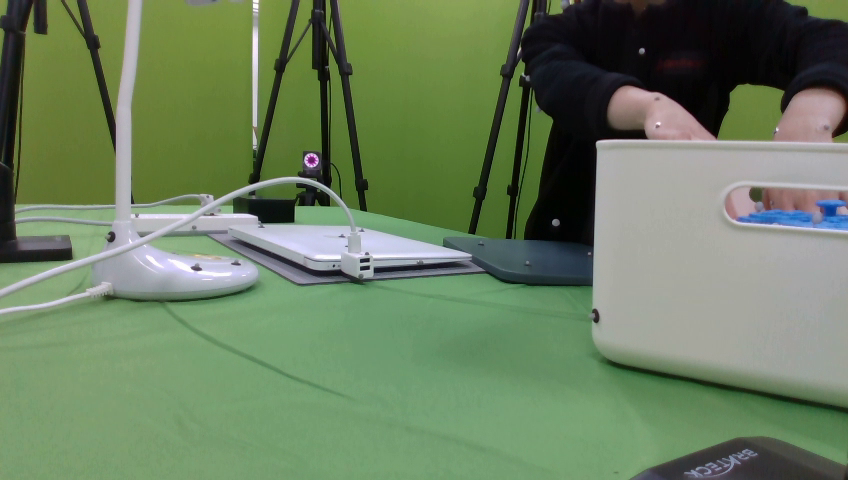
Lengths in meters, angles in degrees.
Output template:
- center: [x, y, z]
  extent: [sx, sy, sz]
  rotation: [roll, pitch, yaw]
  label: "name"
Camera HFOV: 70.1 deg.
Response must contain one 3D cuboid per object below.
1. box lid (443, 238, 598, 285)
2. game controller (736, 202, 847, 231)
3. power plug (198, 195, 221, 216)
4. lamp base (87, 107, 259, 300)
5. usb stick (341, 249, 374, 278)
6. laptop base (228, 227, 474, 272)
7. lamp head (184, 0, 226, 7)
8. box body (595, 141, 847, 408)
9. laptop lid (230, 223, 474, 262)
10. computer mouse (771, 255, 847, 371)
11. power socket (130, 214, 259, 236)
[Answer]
- center: [0.191, 0.029, 0.904]
  extent: [0.264, 0.015, 0.370]
  rotation: [2, 7, -12]
  label: "box lid"
- center: [0.291, 0.000, 0.426]
  extent: [0.097, 0.051, 0.155]
  rotation: [0, 7, 5]
  label: "game controller"
- center: [-0.386, -0.055, 1.088]
  extent: [0.035, 0.052, 0.072]
  rotation: [-2, 6, -24]
  label: "power plug"
- center: [-0.254, -0.039, 0.603]
  extent: [0.160, 0.180, 0.179]
  rotation: [5, 10, 18]
  label: "lamp base"
- center: [-0.078, 0.026, 0.686]
  extent: [0.021, 0.027, 0.059]
  rotation: [-8, 8, -30]
  label: "usb stick"
- center: [-0.123, 0.012, 0.889]
  extent: [0.237, 0.023, 0.352]
  rotation: [2, 6, -35]
  label: "laptop base"
- center: [-0.229, -0.320, 0.627]
  extent: [0.112, 0.112, 0.123]
  rotation: [6, -35, 26]
  label: "lamp head"
- center: [0.309, 0.007, 0.510]
  extent: [0.253, 0.160, 0.366]
  rotation: [6, 8, 29]
  label: "box body"
- center: [-0.121, 0.000, 0.888]
  extent: [0.243, 0.013, 0.355]
  rotation: [1, 7, -33]
  label: "laptop lid"
- center: [0.345, 0.057, 0.519]
  extent: [0.063, 0.041, 0.117]
  rotation: [12, 47, 4]
  label: "computer mouse"
- center: [-0.397, -0.028, 1.048]
  extent: [0.228, 0.032, 0.072]
  rotation: [-3, 7, -35]
  label: "power socket"
